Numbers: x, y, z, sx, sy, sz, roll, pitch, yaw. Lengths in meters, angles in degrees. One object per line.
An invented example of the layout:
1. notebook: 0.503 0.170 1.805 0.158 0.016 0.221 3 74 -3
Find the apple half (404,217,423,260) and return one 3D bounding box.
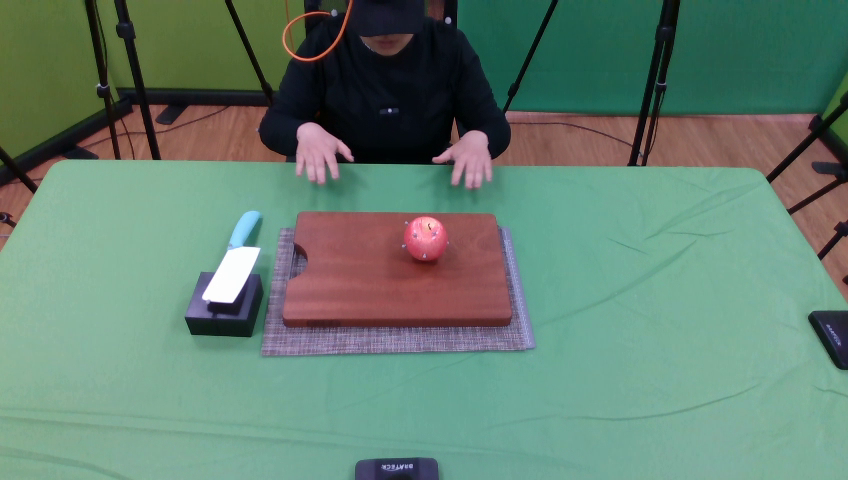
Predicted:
1. apple half: -0.022 -0.002 1.121 0.033 0.081 0.081 3 46 -7

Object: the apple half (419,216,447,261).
1. apple half: 0.016 0.000 1.125 0.053 0.075 0.080 4 43 -6

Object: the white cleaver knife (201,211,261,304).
1. white cleaver knife: -0.336 0.029 1.110 0.066 0.021 0.285 6 34 -3
